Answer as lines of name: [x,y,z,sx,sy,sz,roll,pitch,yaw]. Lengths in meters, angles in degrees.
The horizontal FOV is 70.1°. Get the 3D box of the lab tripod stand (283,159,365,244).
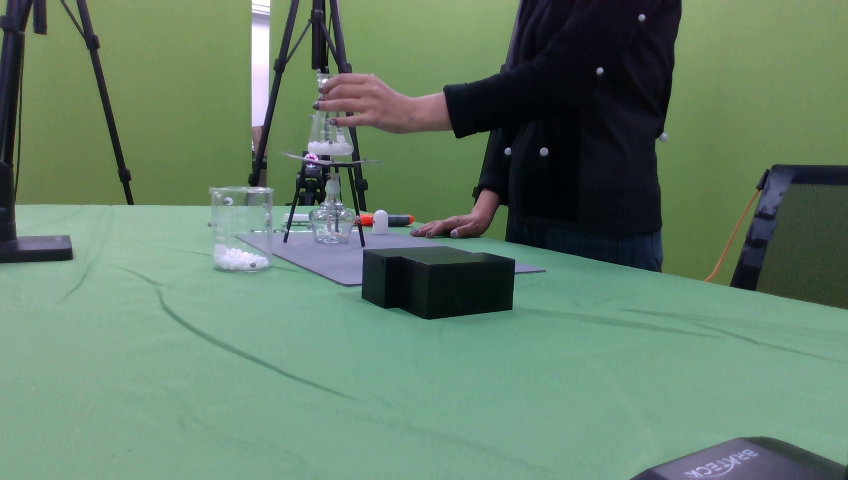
lab tripod stand: [-0.151,-0.063,0.983,0.148,0.131,0.148,4,7,0]

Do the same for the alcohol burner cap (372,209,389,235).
alcohol burner cap: [-0.082,-0.035,1.143,0.034,0.048,0.034,2,7,0]

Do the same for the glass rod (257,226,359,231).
glass rod: [-0.216,-0.022,1.151,0.201,0.008,0.008,-2,8,-28]

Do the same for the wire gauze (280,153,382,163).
wire gauze: [-0.149,-0.129,0.974,0.124,0.011,0.122,11,9,40]

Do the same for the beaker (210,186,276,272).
beaker: [-0.224,-0.014,0.738,0.084,0.100,0.074,4,7,16]

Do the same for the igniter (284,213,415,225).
igniter: [-0.154,-0.045,1.282,0.278,0.025,0.057,0,-3,-20]

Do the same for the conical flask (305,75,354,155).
conical flask: [-0.149,-0.196,0.950,0.075,0.122,0.075,1,10,0]

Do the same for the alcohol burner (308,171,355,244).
alcohol burner: [-0.151,-0.054,0.993,0.078,0.119,0.078,2,6,0]
